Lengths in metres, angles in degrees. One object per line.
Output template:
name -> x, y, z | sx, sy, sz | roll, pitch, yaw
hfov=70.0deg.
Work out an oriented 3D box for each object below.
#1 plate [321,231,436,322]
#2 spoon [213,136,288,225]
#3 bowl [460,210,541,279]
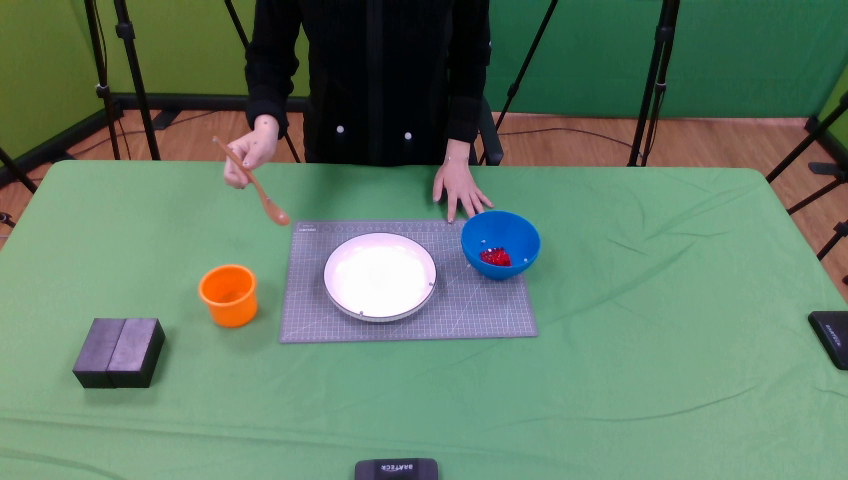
plate -> -0.083, 0.070, 1.109 | 0.209, 0.038, 0.208 | 3, 46, -3
spoon -> -0.289, -0.099, 1.019 | 0.021, 0.195, 0.041 | -19, 35, 16
bowl -> 0.140, 0.021, 1.145 | 0.151, 0.077, 0.150 | 2, 46, -2
